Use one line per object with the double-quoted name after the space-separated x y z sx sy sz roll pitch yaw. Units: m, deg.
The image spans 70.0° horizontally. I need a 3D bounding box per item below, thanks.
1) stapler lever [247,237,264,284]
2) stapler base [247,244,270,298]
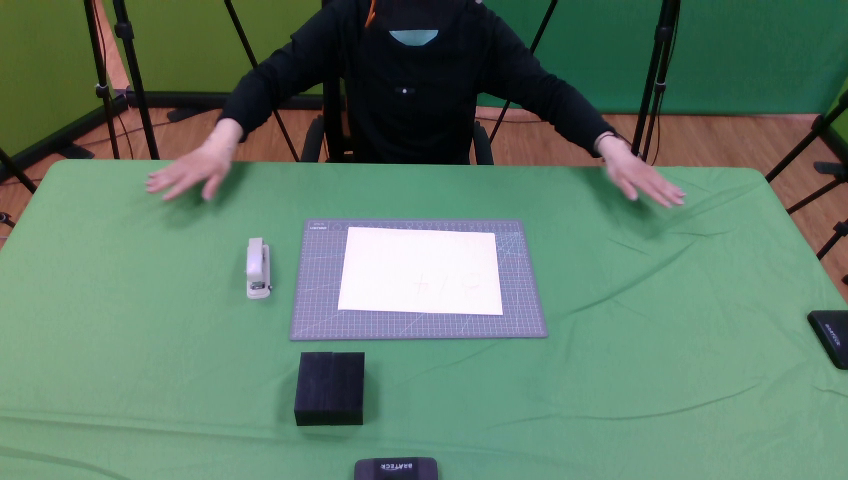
-0.307 0.031 1.106 0.027 0.040 0.117 -4 45 -12 "stapler lever"
-0.308 0.050 1.123 0.041 0.024 0.129 -4 45 -12 "stapler base"
